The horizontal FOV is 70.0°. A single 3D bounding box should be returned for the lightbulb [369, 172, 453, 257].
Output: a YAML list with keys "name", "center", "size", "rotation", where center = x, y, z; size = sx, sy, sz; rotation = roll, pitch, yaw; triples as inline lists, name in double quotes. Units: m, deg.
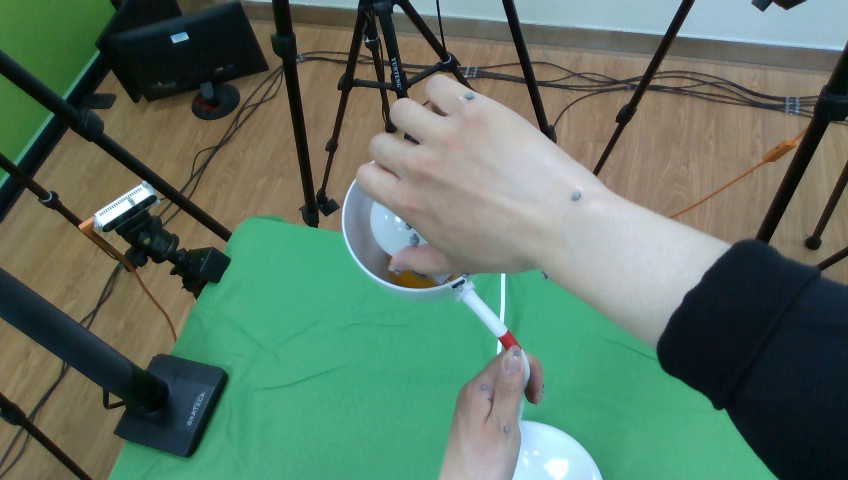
- name: "lightbulb"
  center: [-0.006, -0.011, 0.449]
  size: [0.059, 0.108, 0.059]
  rotation: [-2, 72, 6]

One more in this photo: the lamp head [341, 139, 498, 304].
- name: "lamp head"
  center: [0.002, 0.000, 0.474]
  size: [0.112, 0.124, 0.111]
  rotation: [-2, 67, 6]

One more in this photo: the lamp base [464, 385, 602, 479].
- name: "lamp base"
  center: [0.112, 0.236, 0.644]
  size: [0.161, 0.182, 0.177]
  rotation: [-24, 56, -8]
